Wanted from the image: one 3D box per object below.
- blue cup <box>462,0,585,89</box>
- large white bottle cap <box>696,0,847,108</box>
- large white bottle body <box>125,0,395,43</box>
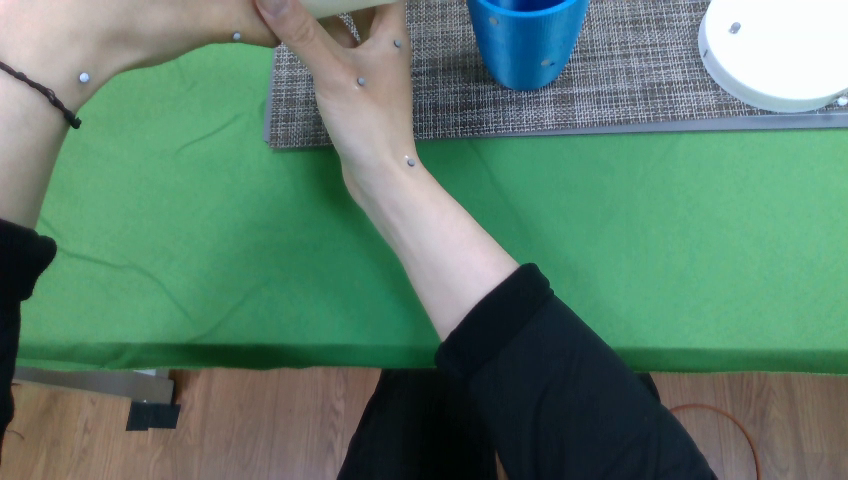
[{"bbox_3d":[0.068,-0.155,0.411,0.092,0.101,0.092,-3,71,8],"label":"blue cup"},{"bbox_3d":[0.255,-0.148,0.431,0.115,0.018,0.114,-2,71,6],"label":"large white bottle cap"},{"bbox_3d":[-0.075,-0.190,0.333,0.184,0.132,0.130,-2,70,23],"label":"large white bottle body"}]
